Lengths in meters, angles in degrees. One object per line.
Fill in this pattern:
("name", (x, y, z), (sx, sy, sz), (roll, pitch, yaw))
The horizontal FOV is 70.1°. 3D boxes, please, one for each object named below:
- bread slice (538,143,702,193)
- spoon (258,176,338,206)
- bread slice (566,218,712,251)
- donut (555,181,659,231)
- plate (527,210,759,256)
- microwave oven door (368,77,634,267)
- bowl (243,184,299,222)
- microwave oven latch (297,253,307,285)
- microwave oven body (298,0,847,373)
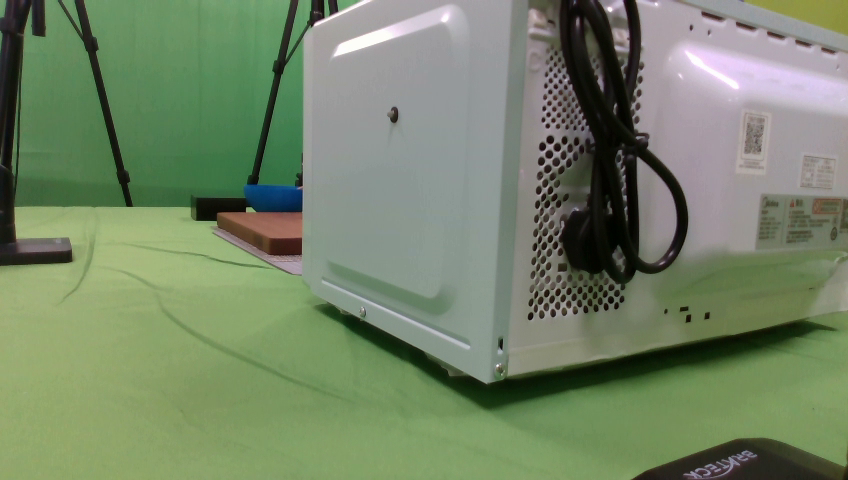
("bread slice", (0.191, -0.069, 0.576), (0.107, 0.018, 0.133), (0, 18, -32))
("spoon", (-0.279, -0.112, 1.357), (0.194, 0.021, 0.041), (-28, 19, -27))
("bread slice", (0.208, -0.007, 0.575), (0.105, 0.019, 0.131), (2, 7, -8))
("donut", (0.180, -0.033, 0.597), (0.099, 0.048, 0.099), (-2, 8, 1))
("plate", (0.203, -0.009, 0.580), (0.208, 0.039, 0.207), (0, 3, 0))
("microwave oven door", (0.094, -0.099, 0.832), (0.355, 0.243, 0.039), (5, 8, 18))
("bowl", (-0.321, -0.081, 1.334), (0.151, 0.077, 0.151), (3, 7, 0))
("microwave oven latch", (-0.082, 0.027, 0.583), (0.079, 0.029, 0.030), (-1, 7, -33))
("microwave oven body", (0.151, -0.055, 0.543), (0.444, 0.260, 0.324), (-1, 7, -33))
